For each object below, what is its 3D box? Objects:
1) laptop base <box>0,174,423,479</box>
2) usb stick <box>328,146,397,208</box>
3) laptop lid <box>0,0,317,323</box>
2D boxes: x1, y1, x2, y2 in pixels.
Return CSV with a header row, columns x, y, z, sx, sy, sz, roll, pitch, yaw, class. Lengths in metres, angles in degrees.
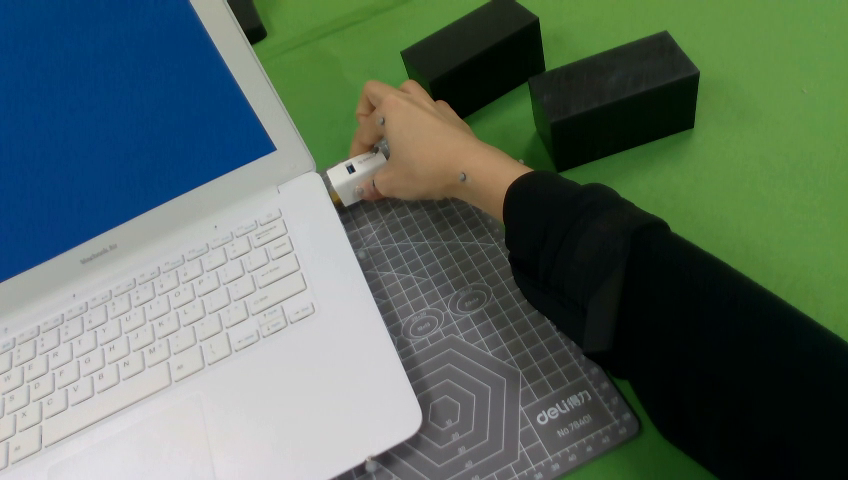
x,y,z,sx,sy,sz,roll,pitch,yaw,class
-0.195,0.106,0.405,0.354,0.023,0.233,-27,54,-2,laptop base
-0.052,-0.044,0.453,0.059,0.027,0.021,-30,49,0,usb stick
-0.278,-0.062,0.407,0.357,0.244,0.013,-27,36,-2,laptop lid
